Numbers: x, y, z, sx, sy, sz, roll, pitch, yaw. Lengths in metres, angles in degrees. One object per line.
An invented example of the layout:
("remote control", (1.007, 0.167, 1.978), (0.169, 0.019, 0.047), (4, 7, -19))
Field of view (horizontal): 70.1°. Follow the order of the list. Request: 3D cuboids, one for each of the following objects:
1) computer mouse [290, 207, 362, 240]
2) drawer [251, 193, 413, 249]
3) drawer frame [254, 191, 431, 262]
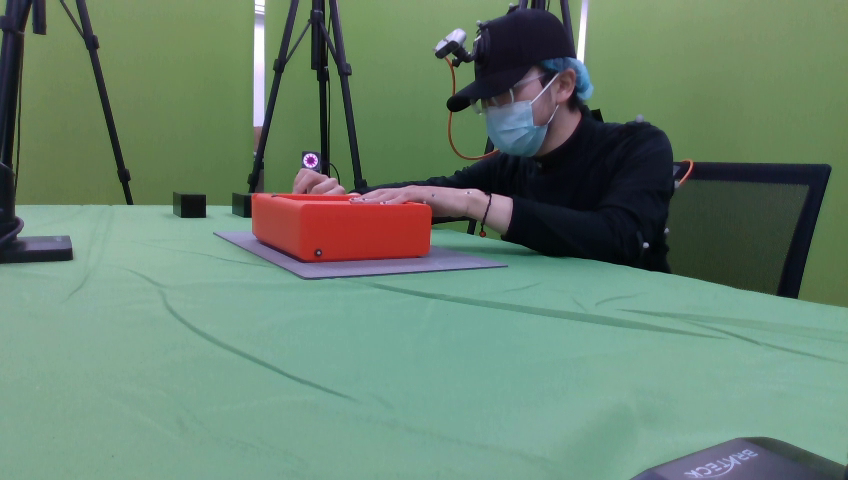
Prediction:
("computer mouse", (-0.159, -0.028, 0.982), (0.117, 0.041, 0.062), (-10, 15, -1))
("drawer", (-0.148, -0.033, 0.945), (0.195, 0.073, 0.210), (-1, 7, -29))
("drawer frame", (-0.129, -0.027, 0.912), (0.203, 0.082, 0.212), (-1, 9, -31))
